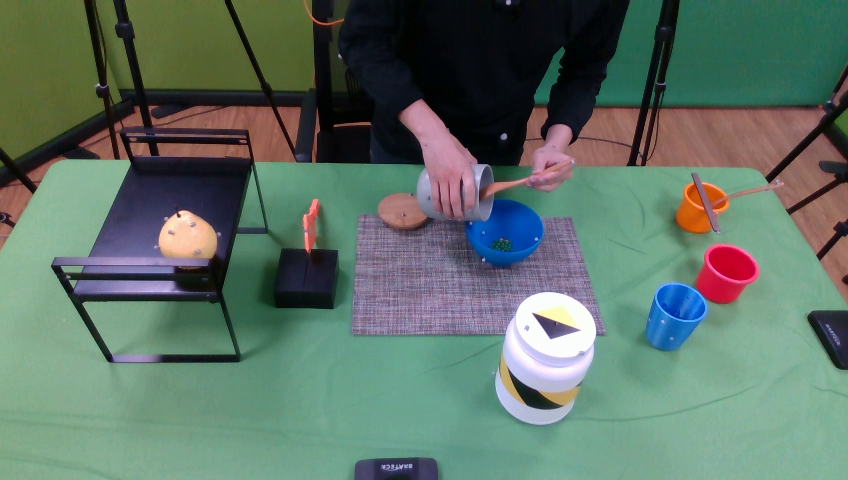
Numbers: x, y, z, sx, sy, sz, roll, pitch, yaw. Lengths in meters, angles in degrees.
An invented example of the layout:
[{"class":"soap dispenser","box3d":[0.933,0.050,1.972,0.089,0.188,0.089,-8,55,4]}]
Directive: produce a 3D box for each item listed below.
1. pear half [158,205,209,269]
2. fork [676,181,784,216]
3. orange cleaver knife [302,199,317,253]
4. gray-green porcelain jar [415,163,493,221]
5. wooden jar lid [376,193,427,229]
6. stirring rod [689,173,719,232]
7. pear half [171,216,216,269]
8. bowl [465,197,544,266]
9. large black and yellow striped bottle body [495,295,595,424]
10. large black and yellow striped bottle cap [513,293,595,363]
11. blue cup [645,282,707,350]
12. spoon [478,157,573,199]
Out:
[{"class":"pear half","box3d":[-0.352,-0.015,0.872,0.056,0.110,0.076,26,46,20]},{"class":"fork","box3d":[0.618,-0.084,1.235,0.207,0.019,0.028,-23,20,38]},{"class":"orange cleaver knife","box3d":[-0.219,-0.031,1.168,0.012,0.077,0.210,-4,17,-3]},{"class":"gray-green porcelain jar","box3d":[0.055,-0.091,1.127,0.126,0.106,0.105,4,44,21]},{"class":"wooden jar lid","box3d":[-0.044,-0.059,1.246,0.108,0.021,0.107,3,40,-3]},{"class":"stirring rod","box3d":[0.566,-0.079,1.225,0.014,0.006,0.175,2,46,2]},{"class":"pear half","box3d":[-0.323,0.007,0.866,0.031,0.088,0.070,25,47,20]},{"class":"bowl","box3d":[0.149,-0.004,1.168,0.151,0.077,0.150,2,46,-2]},{"class":"large black and yellow striped bottle body","box3d":[0.183,0.182,0.923,0.131,0.185,0.130,2,46,-2]},{"class":"large black and yellow striped bottle cap","box3d":[0.186,0.123,0.863,0.115,0.019,0.114,3,45,-3]},{"class":"blue cup","box3d":[0.425,0.136,1.042,0.093,0.101,0.092,1,44,-1]},{"class":"spoon","box3d":[0.172,-0.110,1.080,0.193,0.022,0.041,-17,25,20]}]
